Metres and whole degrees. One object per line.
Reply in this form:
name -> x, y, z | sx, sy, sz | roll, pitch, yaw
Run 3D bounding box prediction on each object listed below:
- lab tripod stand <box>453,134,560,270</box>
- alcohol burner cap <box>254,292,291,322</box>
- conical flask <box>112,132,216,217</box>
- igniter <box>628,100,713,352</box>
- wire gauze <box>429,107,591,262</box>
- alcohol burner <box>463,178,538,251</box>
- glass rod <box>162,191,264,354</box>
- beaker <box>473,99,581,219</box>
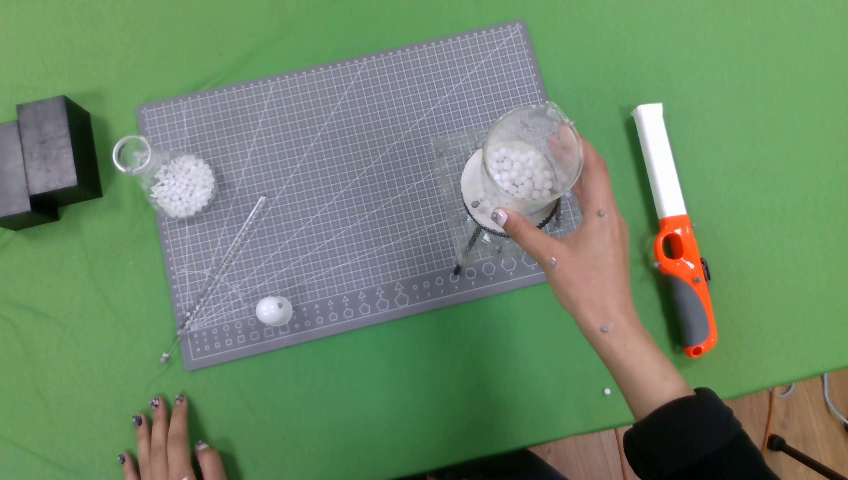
lab tripod stand -> 0.075, -0.037, 0.600 | 0.148, 0.132, 0.148 | 0, 83, -1
alcohol burner cap -> -0.159, 0.069, 0.626 | 0.034, 0.048, 0.033 | 0, 82, -1
conical flask -> -0.263, -0.071, 0.604 | 0.075, 0.122, 0.075 | 0, 81, 0
igniter -> 0.267, -0.019, 0.656 | 0.057, 0.025, 0.275 | -8, 82, -13
wire gauze -> 0.076, -0.049, 0.535 | 0.125, 0.011, 0.121 | -11, 85, -4
alcohol burner -> 0.078, -0.029, 0.608 | 0.078, 0.119, 0.077 | 0, 82, 2
glass rod -> -0.224, 0.032, 0.646 | 0.008, 0.008, 0.199 | 29, 82, 3
beaker -> 0.078, -0.061, 0.488 | 0.074, 0.100, 0.084 | 22, 83, 2
